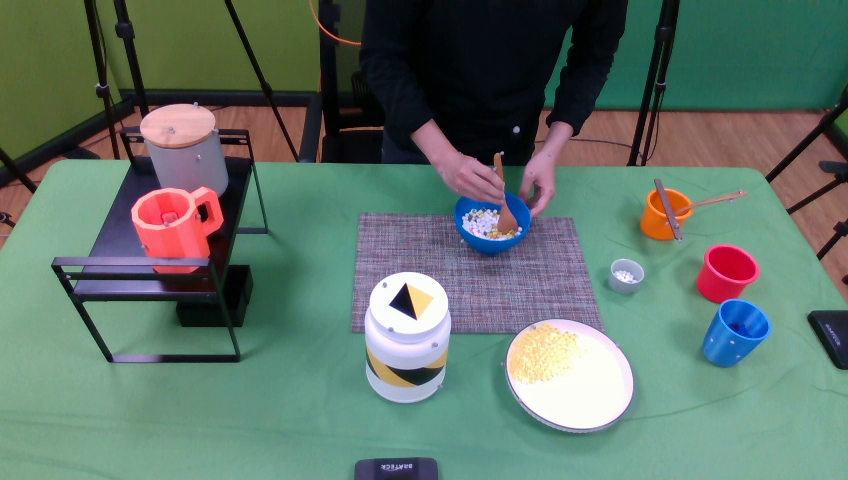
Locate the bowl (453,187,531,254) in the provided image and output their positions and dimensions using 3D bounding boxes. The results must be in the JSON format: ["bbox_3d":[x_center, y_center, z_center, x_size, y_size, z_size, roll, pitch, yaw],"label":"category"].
[{"bbox_3d":[0.128,-0.025,1.187,0.151,0.077,0.150,2,46,-2],"label":"bowl"}]

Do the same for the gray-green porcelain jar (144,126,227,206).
[{"bbox_3d":[-0.375,-0.125,0.967,0.106,0.127,0.105,2,46,-2],"label":"gray-green porcelain jar"}]

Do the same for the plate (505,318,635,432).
[{"bbox_3d":[0.235,0.221,0.991,0.209,0.038,0.208,2,46,-2],"label":"plate"}]

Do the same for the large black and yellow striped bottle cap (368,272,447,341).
[{"bbox_3d":[-0.023,0.093,0.875,0.115,0.019,0.114,3,46,-3],"label":"large black and yellow striped bottle cap"}]

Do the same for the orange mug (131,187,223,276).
[{"bbox_3d":[-0.354,-0.022,0.888,0.083,0.101,0.126,31,55,24],"label":"orange mug"}]

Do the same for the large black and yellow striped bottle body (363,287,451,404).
[{"bbox_3d":[-0.027,0.153,0.935,0.131,0.185,0.130,2,46,-2],"label":"large black and yellow striped bottle body"}]

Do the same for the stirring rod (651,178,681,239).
[{"bbox_3d":[0.480,-0.065,1.204,0.014,0.006,0.175,3,46,-3],"label":"stirring rod"}]

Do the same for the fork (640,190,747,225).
[{"bbox_3d":[0.533,-0.064,1.211,0.207,0.019,0.028,-22,27,38],"label":"fork"}]

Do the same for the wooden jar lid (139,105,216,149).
[{"bbox_3d":[-0.372,-0.169,0.920,0.108,0.021,0.107,4,44,-4],"label":"wooden jar lid"}]

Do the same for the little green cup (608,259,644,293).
[{"bbox_3d":[0.379,0.070,1.147,0.061,0.039,0.061,3,45,-2],"label":"little green cup"}]

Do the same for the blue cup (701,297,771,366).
[{"bbox_3d":[0.519,0.162,1.025,0.093,0.101,0.092,3,45,-3],"label":"blue cup"}]

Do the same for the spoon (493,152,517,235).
[{"bbox_3d":[0.143,-0.081,1.123,0.041,0.195,0.021,-10,37,6],"label":"spoon"}]
